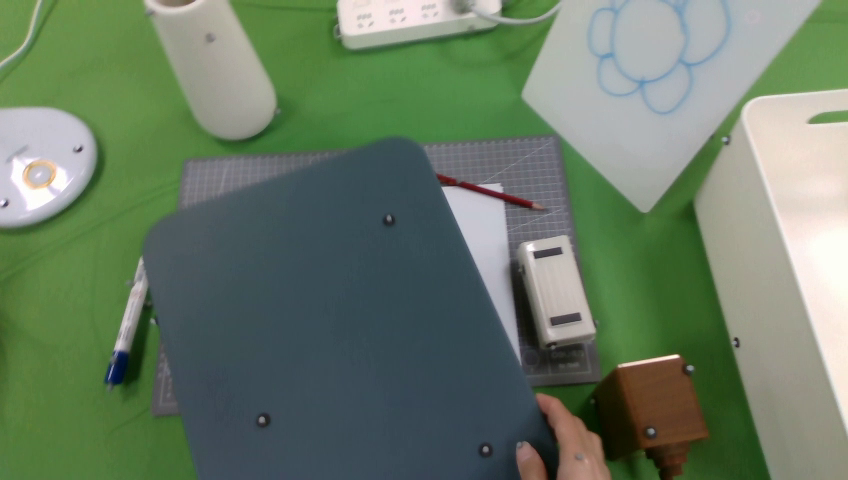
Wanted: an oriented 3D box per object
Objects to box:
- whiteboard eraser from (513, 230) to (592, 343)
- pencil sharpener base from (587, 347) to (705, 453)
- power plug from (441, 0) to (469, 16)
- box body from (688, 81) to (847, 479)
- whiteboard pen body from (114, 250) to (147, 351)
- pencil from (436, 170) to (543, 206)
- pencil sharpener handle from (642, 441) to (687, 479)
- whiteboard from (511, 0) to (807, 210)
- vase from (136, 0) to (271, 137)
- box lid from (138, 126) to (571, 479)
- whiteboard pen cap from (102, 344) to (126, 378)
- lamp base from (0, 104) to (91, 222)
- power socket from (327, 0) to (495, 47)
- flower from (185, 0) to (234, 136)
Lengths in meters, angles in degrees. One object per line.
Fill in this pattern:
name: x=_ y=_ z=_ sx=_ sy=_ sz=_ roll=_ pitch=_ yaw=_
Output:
whiteboard eraser: x=0.131 y=0.047 z=0.624 sx=0.055 sy=0.042 sz=0.111 roll=-9 pitch=65 yaw=-4
pencil sharpener base: x=0.194 y=0.149 z=0.542 sx=0.061 sy=0.108 sz=0.076 roll=-9 pitch=65 yaw=-2
power plug: x=0.038 y=-0.296 z=0.766 sx=0.035 sy=0.053 sz=0.072 roll=0 pitch=67 yaw=2
box body: x=0.420 y=0.049 z=0.551 sx=0.254 sy=0.161 sz=0.361 roll=-5 pitch=65 yaw=-1
whiteboard pen body: x=-0.308 y=0.070 z=0.638 sx=0.017 sy=0.017 sz=0.139 roll=0 pitch=61 yaw=2
pencil: x=0.044 y=-0.068 z=0.698 sx=0.193 sy=0.012 sz=0.012 roll=18 pitch=67 yaw=8
pencil sharpener handle: x=0.205 y=0.189 z=0.510 sx=0.036 sy=0.068 sz=0.030 roll=-14 pitch=65 yaw=8
whiteboard: x=0.262 y=-0.223 z=0.636 sx=0.144 sy=0.307 sz=0.215 roll=-27 pitch=65 yaw=-31
vase: x=-0.239 y=-0.201 z=0.665 sx=0.098 sy=0.201 sz=0.097 roll=-1 pitch=64 yaw=3
box lid: x=-0.065 y=0.095 z=0.488 sx=0.263 sy=0.015 sz=0.369 roll=-21 pitch=74 yaw=-6
whiteboard pen cap: x=-0.312 y=0.121 z=0.610 sx=0.018 sy=0.018 sz=0.033 roll=0 pitch=60 yaw=2
lamp base: x=-0.490 y=-0.131 z=0.650 sx=0.178 sy=0.182 sz=0.160 roll=26 pitch=68 yaw=16
power socket: x=-0.016 y=-0.303 z=0.797 sx=0.227 sy=0.033 sz=0.071 roll=-9 pitch=66 yaw=-3
flower: x=-0.236 y=-0.253 z=0.599 sx=0.038 sy=0.365 sz=0.043 roll=-16 pitch=47 yaw=-13
